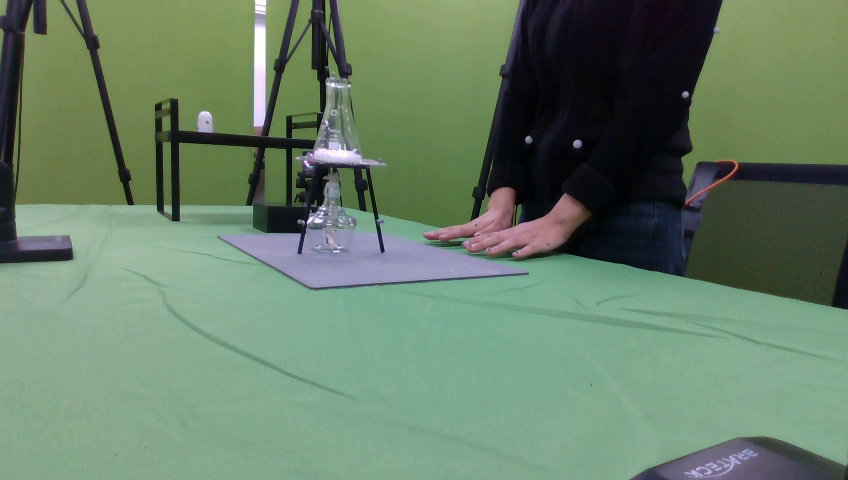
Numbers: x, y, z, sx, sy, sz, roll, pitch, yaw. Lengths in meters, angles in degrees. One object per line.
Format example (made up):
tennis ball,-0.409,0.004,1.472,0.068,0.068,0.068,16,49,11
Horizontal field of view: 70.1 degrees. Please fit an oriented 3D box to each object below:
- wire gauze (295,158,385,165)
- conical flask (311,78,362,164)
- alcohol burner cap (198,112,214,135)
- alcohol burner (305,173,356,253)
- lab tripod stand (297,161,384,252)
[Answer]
wire gauze,-0.128,-0.117,0.901,0.125,0.011,0.121,-2,8,-14
conical flask,-0.128,-0.174,0.890,0.075,0.122,0.075,3,8,0
alcohol burner cap,-0.459,-0.246,1.271,0.034,0.048,0.034,2,7,0
alcohol burner,-0.139,-0.041,0.898,0.078,0.119,0.078,4,8,0
lab tripod stand,-0.130,-0.051,0.903,0.148,0.131,0.148,3,9,0
